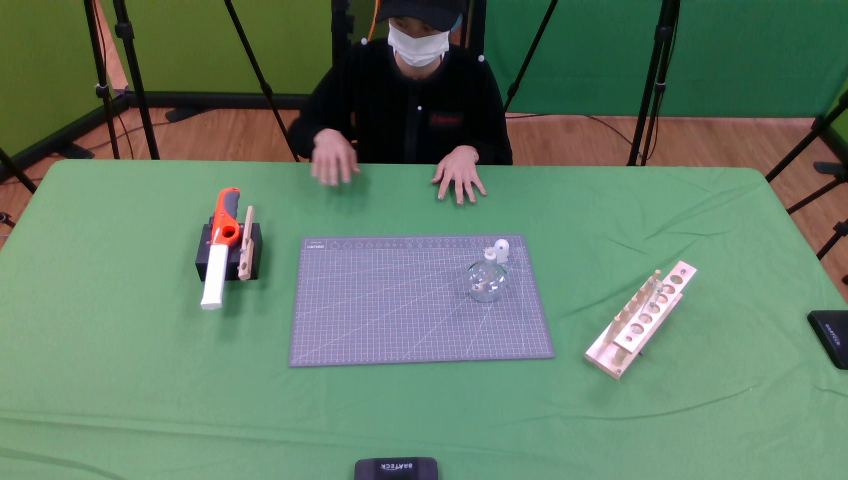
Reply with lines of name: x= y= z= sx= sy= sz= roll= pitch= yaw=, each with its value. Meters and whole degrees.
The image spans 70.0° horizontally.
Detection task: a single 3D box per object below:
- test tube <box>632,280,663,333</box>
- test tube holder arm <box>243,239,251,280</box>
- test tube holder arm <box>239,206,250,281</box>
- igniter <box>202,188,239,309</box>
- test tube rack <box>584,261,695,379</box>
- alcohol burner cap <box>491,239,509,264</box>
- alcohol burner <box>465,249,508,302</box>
test tube: x=0.363 y=0.121 z=0.997 sx=0.017 sy=0.151 sz=0.017 roll=2 pitch=44 yaw=-1
test tube holder arm: x=-0.314 y=0.034 z=1.076 sx=0.010 sy=0.015 sz=0.087 roll=-6 pitch=48 yaw=-6
test tube holder arm: x=-0.327 y=0.002 z=1.106 sx=0.013 sy=0.015 sz=0.177 roll=-7 pitch=48 yaw=-7
igniter: x=-0.367 y=0.006 z=1.095 sx=0.057 sy=0.025 sz=0.274 roll=-2 pitch=49 yaw=-6
test tube rack: x=0.380 y=0.127 z=1.062 sx=0.066 sy=0.085 sz=0.242 roll=34 pitch=53 yaw=26
alcohol burner cap: x=0.150 y=0.020 z=1.174 sx=0.034 sy=0.048 sz=0.033 roll=2 pitch=46 yaw=-2
alcohol burner: x=0.114 y=0.057 z=1.085 sx=0.078 sy=0.120 sz=0.077 roll=2 pitch=48 yaw=-2
